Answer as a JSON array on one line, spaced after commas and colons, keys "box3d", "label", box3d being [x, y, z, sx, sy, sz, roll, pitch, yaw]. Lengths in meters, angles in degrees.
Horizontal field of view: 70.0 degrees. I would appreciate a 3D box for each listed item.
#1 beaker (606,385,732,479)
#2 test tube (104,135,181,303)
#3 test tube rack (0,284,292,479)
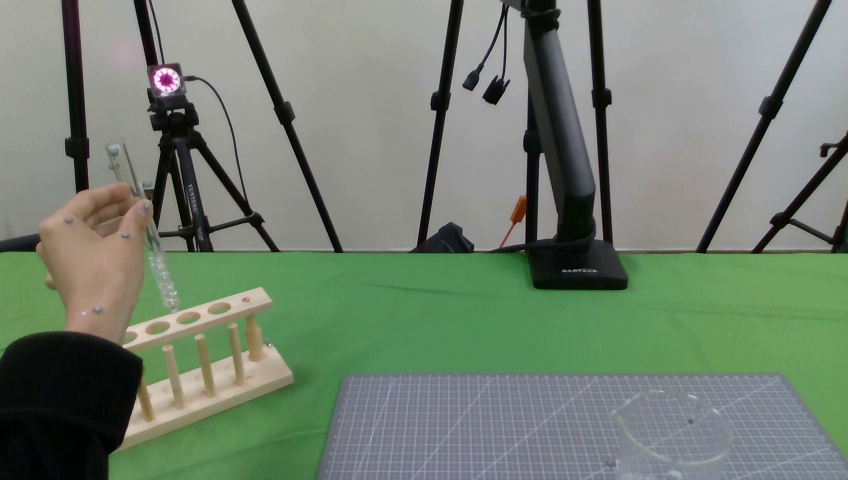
[{"box3d": [0.173, 0.169, 0.448, 0.083, 0.101, 0.074, 10, 29, 24], "label": "beaker"}, {"box3d": [-0.226, -0.012, 0.492, 0.017, 0.151, 0.017, -5, 29, 3], "label": "test tube"}, {"box3d": [-0.257, 0.127, 0.577, 0.243, 0.086, 0.066, -17, 31, -28], "label": "test tube rack"}]
